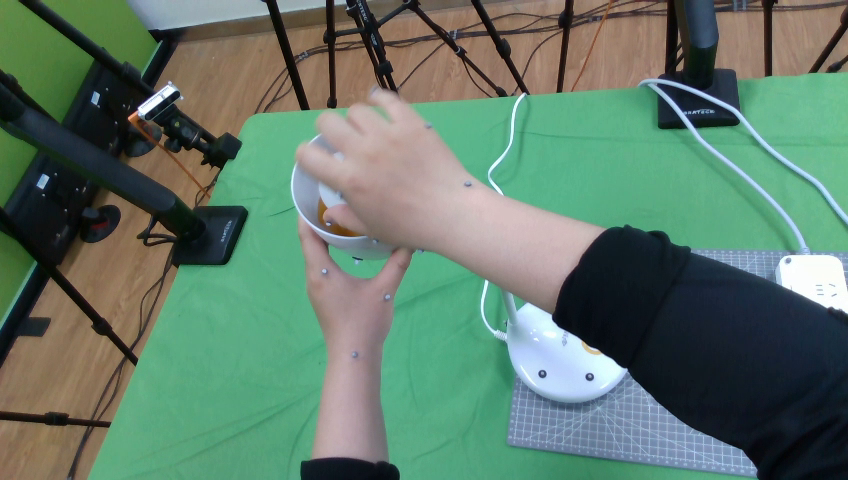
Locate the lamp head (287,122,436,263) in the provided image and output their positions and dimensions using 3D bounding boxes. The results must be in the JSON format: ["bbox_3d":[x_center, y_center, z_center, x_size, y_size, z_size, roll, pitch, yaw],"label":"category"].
[{"bbox_3d":[-0.048,-0.029,0.544,0.112,0.124,0.111,-4,67,10],"label":"lamp head"}]

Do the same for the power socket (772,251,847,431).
[{"bbox_3d":[0.469,0.111,0.723,0.072,0.033,0.225,0,57,18],"label":"power socket"}]

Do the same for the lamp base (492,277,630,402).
[{"bbox_3d":[0.156,0.097,0.745,0.178,0.182,0.159,-6,56,19],"label":"lamp base"}]

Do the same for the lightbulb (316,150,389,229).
[{"bbox_3d":[-0.055,-0.036,0.518,0.059,0.108,0.059,-3,71,8],"label":"lightbulb"}]
